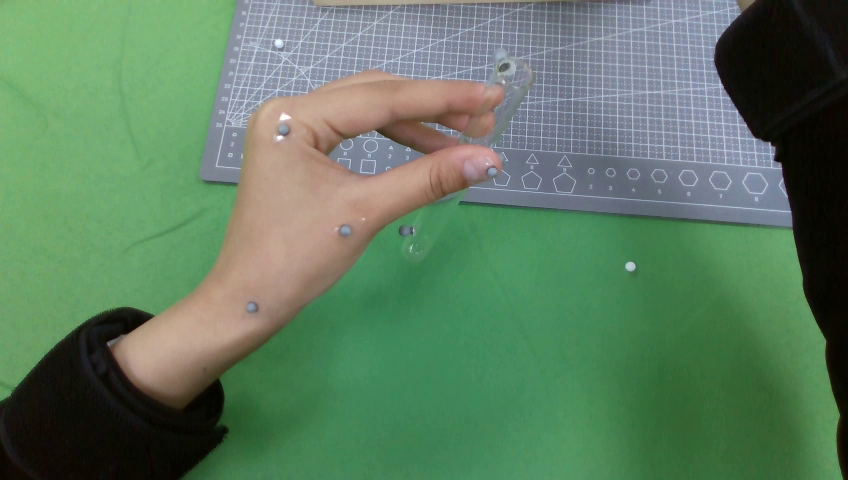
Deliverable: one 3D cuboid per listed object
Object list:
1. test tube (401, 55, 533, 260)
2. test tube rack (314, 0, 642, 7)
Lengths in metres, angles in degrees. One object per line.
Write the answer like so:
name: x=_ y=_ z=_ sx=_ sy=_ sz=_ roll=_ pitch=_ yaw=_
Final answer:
test tube: x=0.013 y=-0.028 z=0.282 sx=0.017 sy=0.151 sz=0.017 roll=8 pitch=60 yaw=-14
test tube rack: x=0.042 y=-0.214 z=0.405 sx=0.242 sy=0.085 sz=0.066 roll=-1 pitch=71 yaw=0
